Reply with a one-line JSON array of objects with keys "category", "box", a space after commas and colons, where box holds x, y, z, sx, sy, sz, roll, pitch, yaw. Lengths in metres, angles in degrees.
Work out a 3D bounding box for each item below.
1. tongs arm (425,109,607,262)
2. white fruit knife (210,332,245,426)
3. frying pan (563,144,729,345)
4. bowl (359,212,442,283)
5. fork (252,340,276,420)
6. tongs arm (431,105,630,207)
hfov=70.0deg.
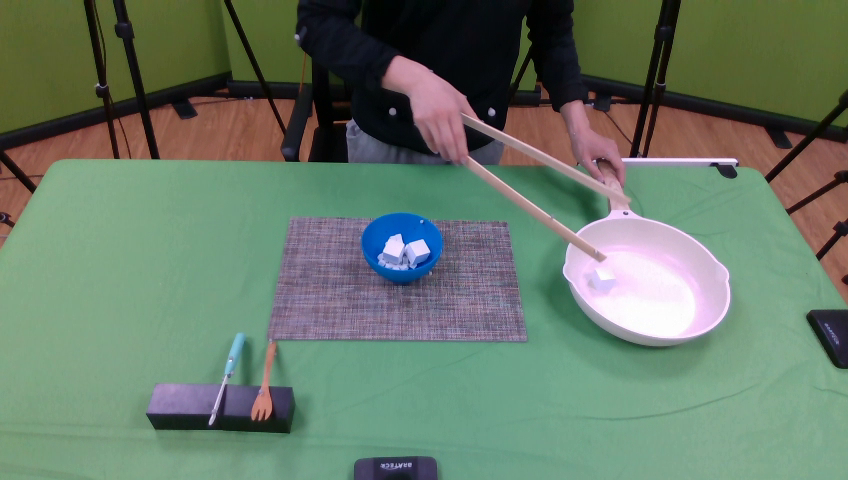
[{"category": "tongs arm", "box": [0.157, -0.092, 1.031, 0.385, 0.026, 0.050, 34, 65, -2]}, {"category": "white fruit knife", "box": [-0.301, 0.206, 0.930, 0.016, 0.027, 0.206, 5, 29, -7]}, {"category": "frying pan", "box": [0.396, -0.008, 1.179, 0.307, 0.103, 0.484, 1, 55, -5]}, {"category": "bowl", "box": [-0.044, 0.026, 1.125, 0.151, 0.077, 0.150, 2, 46, -2]}, {"category": "fork", "box": [-0.242, 0.211, 0.932, 0.028, 0.019, 0.206, -8, 27, -5]}, {"category": "tongs arm", "box": [0.189, -0.146, 1.063, 0.388, 0.028, 0.028, 26, 69, -7]}]
